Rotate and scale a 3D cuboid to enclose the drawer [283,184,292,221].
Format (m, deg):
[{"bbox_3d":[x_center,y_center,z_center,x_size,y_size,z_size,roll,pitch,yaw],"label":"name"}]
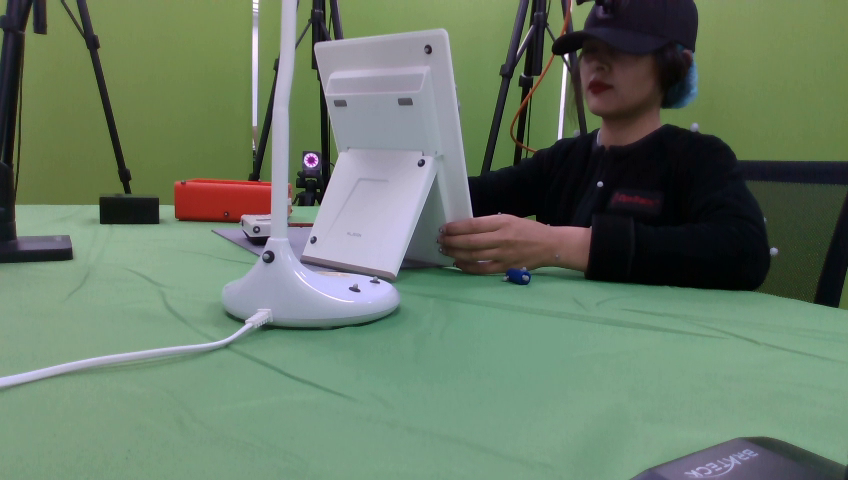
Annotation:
[{"bbox_3d":[-0.397,-0.086,1.314,0.212,0.073,0.194,1,8,-9],"label":"drawer"}]

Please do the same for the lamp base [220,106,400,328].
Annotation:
[{"bbox_3d":[-0.102,-0.023,0.531,0.160,0.180,0.179,4,10,10],"label":"lamp base"}]

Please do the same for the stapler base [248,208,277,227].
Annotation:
[{"bbox_3d":[-0.350,-0.053,1.310,0.041,0.024,0.130,1,13,-3],"label":"stapler base"}]

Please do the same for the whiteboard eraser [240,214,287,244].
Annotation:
[{"bbox_3d":[-0.256,-0.017,0.958,0.056,0.042,0.112,0,8,-25],"label":"whiteboard eraser"}]

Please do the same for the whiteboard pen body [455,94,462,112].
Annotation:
[{"bbox_3d":[0.029,-0.214,0.847,0.017,0.017,0.141,5,-11,20],"label":"whiteboard pen body"}]

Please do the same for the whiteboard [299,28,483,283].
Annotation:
[{"bbox_3d":[-0.075,-0.082,0.741,0.216,0.305,0.144,9,29,38],"label":"whiteboard"}]

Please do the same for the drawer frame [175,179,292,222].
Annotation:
[{"bbox_3d":[-0.402,-0.087,1.311,0.214,0.082,0.201,1,8,-9],"label":"drawer frame"}]

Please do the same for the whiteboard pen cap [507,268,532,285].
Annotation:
[{"bbox_3d":[0.113,0.043,0.726,0.018,0.018,0.033,-2,9,-28],"label":"whiteboard pen cap"}]

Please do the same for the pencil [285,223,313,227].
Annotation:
[{"bbox_3d":[-0.234,-0.030,1.198,0.195,0.012,0.012,0,8,-20],"label":"pencil"}]

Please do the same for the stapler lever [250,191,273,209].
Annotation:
[{"bbox_3d":[-0.351,-0.086,1.305,0.027,0.040,0.118,0,5,-3],"label":"stapler lever"}]
